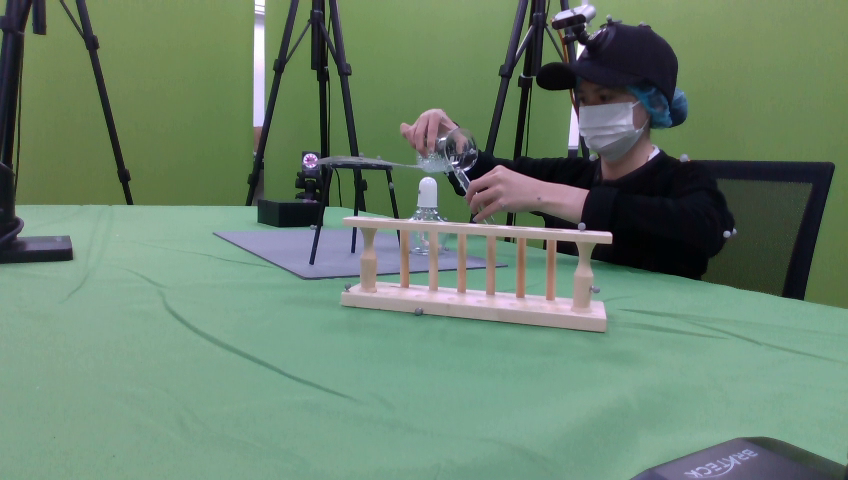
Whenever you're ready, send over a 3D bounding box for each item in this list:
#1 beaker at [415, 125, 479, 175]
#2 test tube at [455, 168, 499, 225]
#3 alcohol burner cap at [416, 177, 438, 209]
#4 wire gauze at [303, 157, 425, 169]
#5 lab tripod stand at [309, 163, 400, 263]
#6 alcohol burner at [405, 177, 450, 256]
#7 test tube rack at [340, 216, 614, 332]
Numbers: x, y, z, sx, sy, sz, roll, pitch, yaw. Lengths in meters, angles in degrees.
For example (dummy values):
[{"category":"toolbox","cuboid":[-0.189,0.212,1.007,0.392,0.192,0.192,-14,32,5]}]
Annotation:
[{"category":"beaker","cuboid":[0.037,-0.154,1.068,0.074,0.084,0.100,7,-3,-34]},{"category":"test tube","cuboid":[0.086,-0.066,0.982,0.017,0.017,0.149,-2,44,-28]},{"category":"alcohol burner cap","cuboid":[0.005,-0.072,0.914,0.034,0.048,0.034,3,9,0]},{"category":"wire gauze","cuboid":[-0.082,-0.102,0.799,0.126,0.011,0.121,-1,7,-30]},{"category":"lab tripod stand","cuboid":[-0.091,-0.037,0.813,0.148,0.131,0.148,1,6,0]},{"category":"alcohol burner","cuboid":[0.004,-0.036,0.917,0.078,0.119,0.078,3,6,0]},{"category":"test tube rack","cuboid":[0.048,0.026,0.568,0.242,0.085,0.067,4,7,13]}]
